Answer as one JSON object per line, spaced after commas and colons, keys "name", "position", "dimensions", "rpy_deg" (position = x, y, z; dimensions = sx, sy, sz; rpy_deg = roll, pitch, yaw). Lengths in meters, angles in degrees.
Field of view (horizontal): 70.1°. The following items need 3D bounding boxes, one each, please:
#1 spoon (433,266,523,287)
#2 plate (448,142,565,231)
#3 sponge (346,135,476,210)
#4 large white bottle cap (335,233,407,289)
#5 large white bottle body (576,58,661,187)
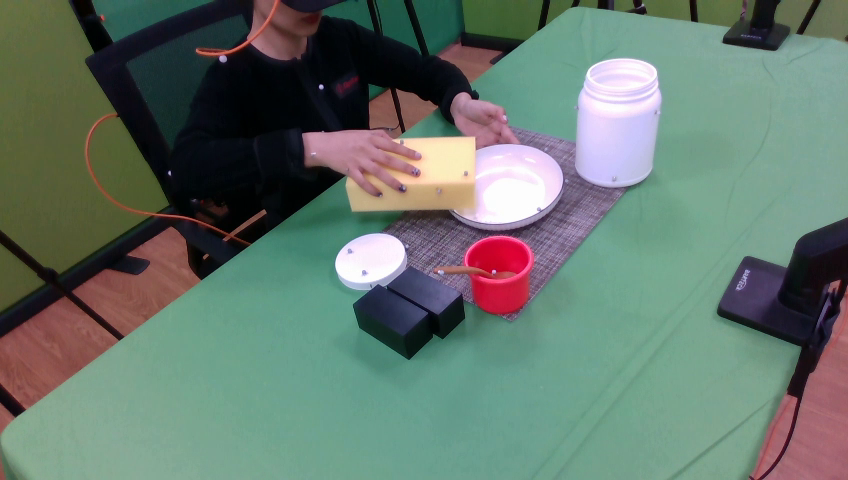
{"name": "spoon", "position": [0.074, 0.045, 0.815], "dimensions": [0.041, 0.021, 0.195], "rpy_deg": [32, 12, 38]}
{"name": "plate", "position": [0.134, -0.088, 1.032], "dimensions": [0.209, 0.038, 0.208], "rpy_deg": [-6, 46, 7]}
{"name": "sponge", "position": [-0.016, -0.112, 1.003], "dimensions": [0.207, 0.061, 0.117], "rpy_deg": [-1, 48, 3]}
{"name": "large white bottle cap", "position": [-0.085, 0.032, 0.961], "dimensions": [0.115, 0.018, 0.114], "rpy_deg": [-6, 41, 6]}
{"name": "large white bottle body", "position": [0.326, -0.197, 1.021], "dimensions": [0.130, 0.185, 0.130], "rpy_deg": [-5, 40, 5]}
